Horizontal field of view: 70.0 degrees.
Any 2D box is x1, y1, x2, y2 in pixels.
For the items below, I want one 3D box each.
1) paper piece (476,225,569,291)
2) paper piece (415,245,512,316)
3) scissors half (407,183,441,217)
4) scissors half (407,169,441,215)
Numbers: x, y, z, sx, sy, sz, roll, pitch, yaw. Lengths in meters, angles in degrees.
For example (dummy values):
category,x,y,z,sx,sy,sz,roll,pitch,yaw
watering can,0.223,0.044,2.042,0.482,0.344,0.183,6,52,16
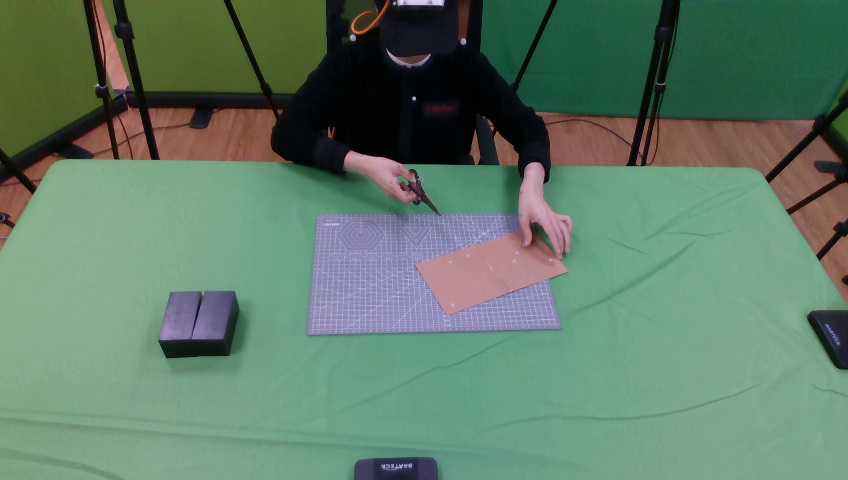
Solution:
category,x,y,z,sx,sy,sz,roll,pitch,yaw
paper piece,0.192,0.033,1.185,0.136,0.004,0.134,-18,50,-19
paper piece,0.072,0.071,1.140,0.138,0.009,0.135,-18,46,-18
scissors half,0.000,-0.075,1.188,0.013,0.040,0.174,-13,23,-17
scissors half,0.001,-0.092,1.178,0.013,0.040,0.174,-8,38,-20
